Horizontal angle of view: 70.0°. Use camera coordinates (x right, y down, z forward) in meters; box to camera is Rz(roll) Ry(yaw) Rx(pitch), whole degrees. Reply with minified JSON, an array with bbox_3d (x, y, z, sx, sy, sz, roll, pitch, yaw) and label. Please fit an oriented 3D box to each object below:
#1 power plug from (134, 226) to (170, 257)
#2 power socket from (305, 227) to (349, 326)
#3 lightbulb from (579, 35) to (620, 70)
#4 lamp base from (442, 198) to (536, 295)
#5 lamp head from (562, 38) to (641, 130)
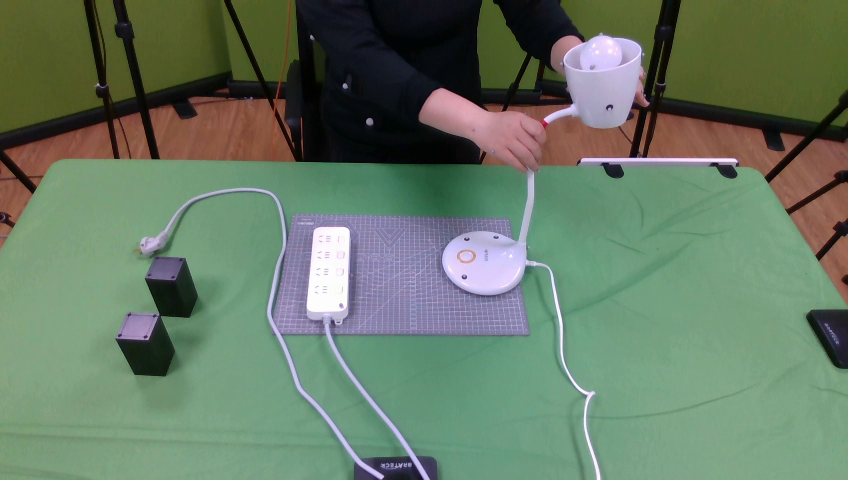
[{"bbox_3d":[-0.515,0.005,1.152,0.052,0.035,0.072,-6,25,6],"label":"power plug"},{"bbox_3d":[-0.177,0.059,1.115,0.072,0.033,0.225,-1,46,-4],"label":"power socket"},{"bbox_3d":[0.267,-0.253,0.913,0.059,0.108,0.059,-13,32,8],"label":"lightbulb"},{"bbox_3d":[0.130,-0.012,1.105,0.179,0.181,0.159,-1,46,-9],"label":"lamp base"},{"bbox_3d":[0.268,-0.230,0.924,0.112,0.123,0.111,-6,38,5],"label":"lamp head"}]
